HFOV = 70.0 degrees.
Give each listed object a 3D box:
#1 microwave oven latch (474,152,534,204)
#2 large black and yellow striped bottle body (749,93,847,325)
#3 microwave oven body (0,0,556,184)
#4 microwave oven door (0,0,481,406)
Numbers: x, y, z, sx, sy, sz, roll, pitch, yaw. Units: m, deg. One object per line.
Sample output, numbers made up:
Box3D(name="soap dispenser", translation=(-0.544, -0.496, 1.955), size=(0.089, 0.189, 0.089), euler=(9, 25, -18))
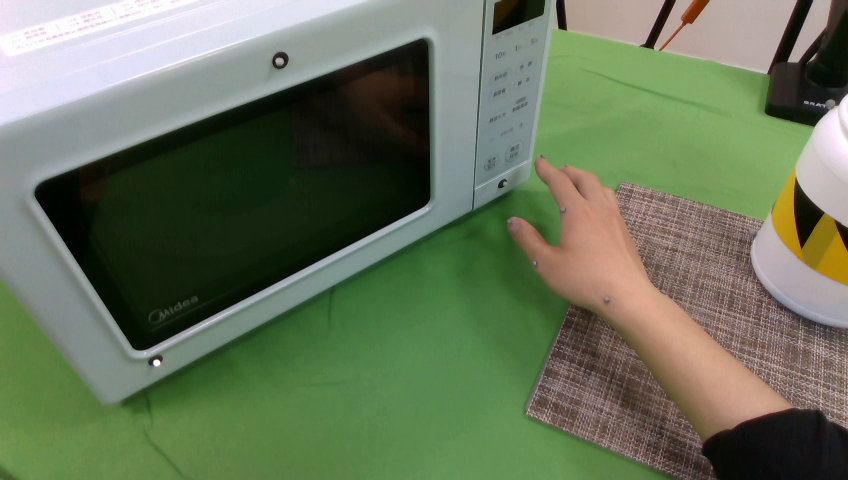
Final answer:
Box3D(name="microwave oven latch", translation=(0.074, -0.068, 0.607), size=(0.079, 0.030, 0.030), euler=(-28, 53, -22))
Box3D(name="large black and yellow striped bottle body", translation=(0.362, -0.033, 0.488), size=(0.131, 0.185, 0.129), euler=(0, 47, 1))
Box3D(name="microwave oven body", translation=(-0.159, -0.141, 0.546), size=(0.442, 0.262, 0.322), euler=(-29, 53, -23))
Box3D(name="microwave oven door", translation=(-0.106, -0.042, 0.445), size=(0.356, 0.246, 0.039), euler=(-29, 52, -24))
